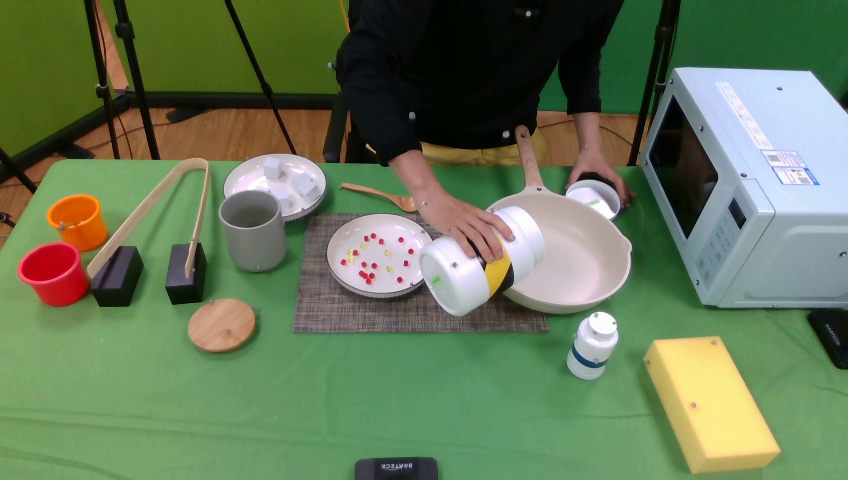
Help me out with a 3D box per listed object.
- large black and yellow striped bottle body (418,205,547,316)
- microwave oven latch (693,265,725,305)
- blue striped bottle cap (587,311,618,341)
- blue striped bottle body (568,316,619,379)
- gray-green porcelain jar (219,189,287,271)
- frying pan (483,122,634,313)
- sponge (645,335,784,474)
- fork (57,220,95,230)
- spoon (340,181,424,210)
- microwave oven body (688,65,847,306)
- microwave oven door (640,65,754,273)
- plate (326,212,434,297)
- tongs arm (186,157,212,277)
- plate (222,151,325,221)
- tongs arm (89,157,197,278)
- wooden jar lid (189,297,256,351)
[{"bbox_3d":[0.098,0.029,1.002,0.184,0.131,0.130,-28,54,-18],"label":"large black and yellow striped bottle body"},{"bbox_3d":[0.523,0.082,1.116,0.030,0.029,0.078,2,46,-1],"label":"microwave oven latch"},{"bbox_3d":[0.279,0.134,0.947,0.044,0.021,0.044,2,45,-2],"label":"blue striped bottle cap"},{"bbox_3d":[0.276,0.168,0.984,0.063,0.121,0.062,2,46,-2],"label":"blue striped bottle body"},{"bbox_3d":[-0.310,-0.014,1.113,0.106,0.127,0.105,2,46,-2],"label":"gray-green porcelain jar"},{"bbox_3d":[0.235,-0.061,1.207,0.307,0.103,0.484,2,55,-6],"label":"frying pan"},{"bbox_3d":[0.449,0.253,0.956,0.118,0.061,0.205,-4,46,-7],"label":"sponge"},{"bbox_3d":[-0.624,-0.027,1.087,0.028,0.207,0.018,-3,92,-17],"label":"fork"},{"bbox_3d":[-0.090,-0.100,1.282,0.193,0.022,0.041,18,64,13],"label":"spoon"},{"bbox_3d":[0.669,-0.111,1.176,0.326,0.261,0.439,0,46,-3],"label":"microwave oven body"},{"bbox_3d":[0.523,-0.147,1.193,0.039,0.245,0.353,0,47,-3],"label":"microwave oven door"},{"bbox_3d":[-0.080,0.030,1.143,0.209,0.038,0.208,2,46,-2],"label":"plate"},{"bbox_3d":[-0.445,-0.058,1.168,0.051,0.026,0.382,-5,37,-6],"label":"tongs arm"},{"bbox_3d":[-0.310,-0.106,1.262,0.208,0.039,0.206,2,47,-2],"label":"plate"},{"bbox_3d":[-0.530,-0.058,1.163,0.028,0.028,0.385,1,36,7],"label":"tongs arm"},{"bbox_3d":[-0.342,0.145,1.033,0.108,0.021,0.107,2,45,-2],"label":"wooden jar lid"}]
